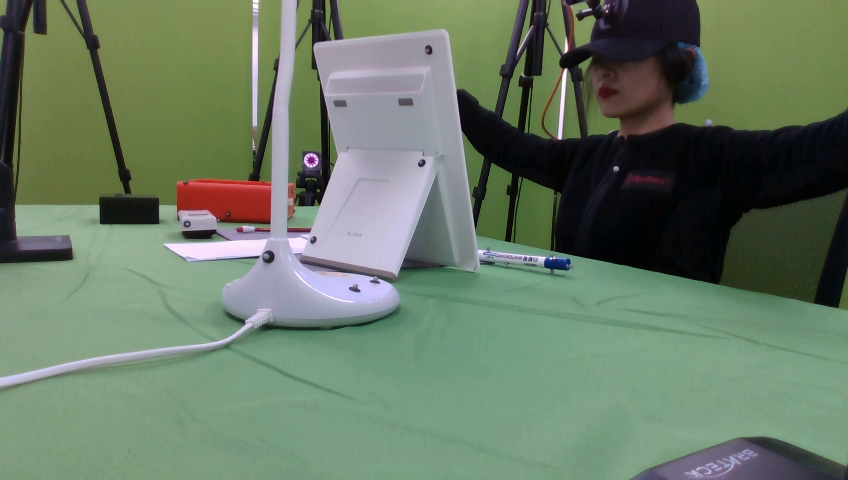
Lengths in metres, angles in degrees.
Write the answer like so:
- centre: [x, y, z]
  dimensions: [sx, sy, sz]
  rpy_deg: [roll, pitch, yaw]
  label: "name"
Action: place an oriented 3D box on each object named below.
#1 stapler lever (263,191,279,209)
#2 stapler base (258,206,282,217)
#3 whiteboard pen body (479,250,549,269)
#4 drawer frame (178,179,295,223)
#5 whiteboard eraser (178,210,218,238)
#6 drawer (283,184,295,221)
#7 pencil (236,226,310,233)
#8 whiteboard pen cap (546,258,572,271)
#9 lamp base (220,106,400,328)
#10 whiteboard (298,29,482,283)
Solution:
- centre: [-0.329, -0.085, 1.306]
  dimensions: [0.027, 0.040, 0.118]
  rpy_deg: [9, 2, -9]
  label: "stapler lever"
- centre: [-0.331, -0.064, 1.306]
  dimensions: [0.041, 0.024, 0.130]
  rpy_deg: [9, -2, -9]
  label: "stapler base"
- centre: [0.130, 0.027, 0.827]
  dimensions: [0.140, 0.017, 0.017]
  rpy_deg: [7, 8, 38]
  label: "whiteboard pen body"
- centre: [-0.397, -0.088, 1.315]
  dimensions: [0.214, 0.082, 0.201]
  rpy_deg: [1, 8, -7]
  label: "drawer frame"
- centre: [-0.380, -0.027, 1.014]
  dimensions: [0.056, 0.042, 0.112]
  rpy_deg: [0, 8, -25]
  label: "whiteboard eraser"
- centre: [-0.394, -0.086, 1.317]
  dimensions: [0.212, 0.073, 0.194]
  rpy_deg: [1, 8, -7]
  label: "drawer"
- centre: [-0.239, -0.017, 1.093]
  dimensions: [0.195, 0.012, 0.012]
  rpy_deg: [1, 7, -27]
  label: "pencil"
- centre: [0.175, 0.032, 0.790]
  dimensions: [0.033, 0.018, 0.018]
  rpy_deg: [3, 7, 37]
  label: "whiteboard pen cap"
- centre: [-0.101, -0.023, 0.531]
  dimensions: [0.160, 0.180, 0.179]
  rpy_deg: [4, 10, 10]
  label: "lamp base"
- centre: [-0.075, -0.082, 0.742]
  dimensions: [0.216, 0.305, 0.144]
  rpy_deg: [9, 29, 37]
  label: "whiteboard"
